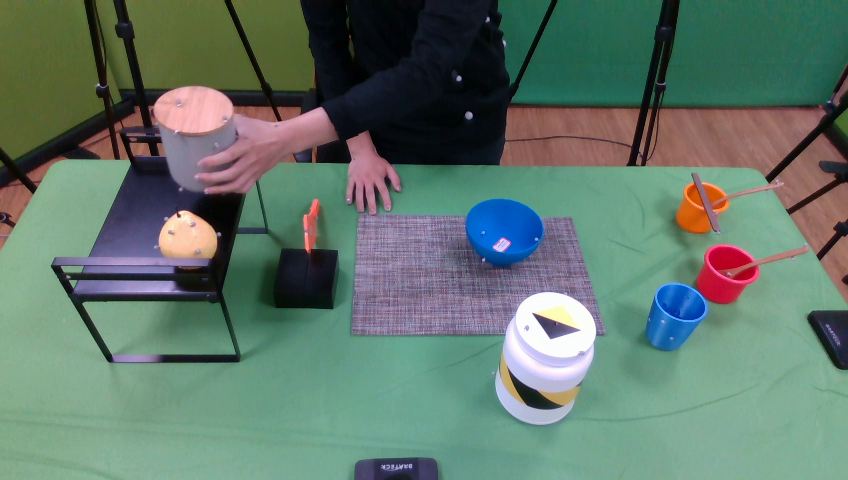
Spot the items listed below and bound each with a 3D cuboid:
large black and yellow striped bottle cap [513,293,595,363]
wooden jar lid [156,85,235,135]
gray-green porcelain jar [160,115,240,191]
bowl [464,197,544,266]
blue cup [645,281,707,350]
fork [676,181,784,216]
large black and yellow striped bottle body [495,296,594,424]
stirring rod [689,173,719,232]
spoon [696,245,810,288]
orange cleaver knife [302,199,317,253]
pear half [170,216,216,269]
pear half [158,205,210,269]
[{"bbox_3d":[0.185,0.123,0.863,0.115,0.019,0.114,3,45,-3],"label":"large black and yellow striped bottle cap"},{"bbox_3d":[-0.332,-0.186,0.884,0.108,0.021,0.107,7,50,-9],"label":"wooden jar lid"},{"bbox_3d":[-0.340,-0.147,0.932,0.106,0.127,0.105,6,50,-7],"label":"gray-green porcelain jar"},{"bbox_3d":[0.149,-0.004,1.168,0.151,0.077,0.150,2,46,-2],"label":"bowl"},{"bbox_3d":[0.425,0.136,1.042,0.093,0.101,0.092,1,44,-1],"label":"blue cup"},{"bbox_3d":[0.618,-0.083,1.235,0.019,0.207,0.028,55,40,-15],"label":"fork"},{"bbox_3d":[0.183,0.182,0.923,0.131,0.185,0.130,2,46,-2],"label":"large black and yellow striped bottle body"},{"bbox_3d":[0.566,-0.079,1.225,0.014,0.006,0.175,2,45,2],"label":"stirring rod"},{"bbox_3d":[0.601,0.047,1.114,0.193,0.022,0.041,-26,36,33],"label":"spoon"},{"bbox_3d":[-0.219,-0.031,1.168,0.012,0.077,0.210,-5,17,-3],"label":"orange cleaver knife"},{"bbox_3d":[-0.323,0.007,0.866,0.031,0.088,0.070,25,46,20],"label":"pear half"},{"bbox_3d":[-0.352,-0.015,0.872,0.056,0.110,0.076,26,46,19],"label":"pear half"}]
